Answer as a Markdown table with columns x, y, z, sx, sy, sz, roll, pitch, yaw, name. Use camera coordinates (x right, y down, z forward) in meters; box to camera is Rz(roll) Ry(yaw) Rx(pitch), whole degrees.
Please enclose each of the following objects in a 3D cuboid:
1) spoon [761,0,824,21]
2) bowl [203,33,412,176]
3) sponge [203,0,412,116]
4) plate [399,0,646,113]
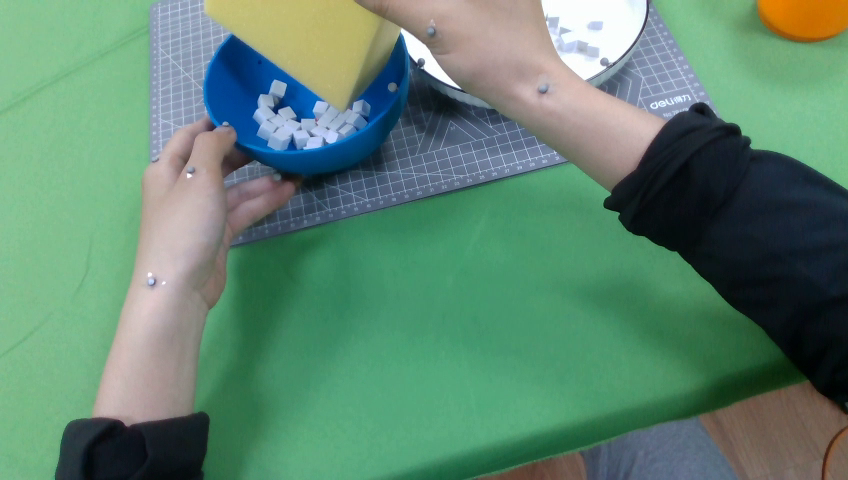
| x | y | z | sx | sy | sz | roll | pitch | yaw | name |
| --- | --- | --- | --- | --- | --- | --- | --- | --- | --- |
| 0.347 | -0.238 | 0.450 | 0.022 | 0.194 | 0.041 | 4 | 56 | -43 | spoon |
| -0.081 | -0.102 | 0.467 | 0.151 | 0.077 | 0.150 | -1 | 62 | 3 | bowl |
| -0.057 | -0.181 | 0.348 | 0.118 | 0.207 | 0.060 | 34 | 59 | -3 | sponge |
| 0.077 | -0.186 | 0.515 | 0.209 | 0.038 | 0.207 | -3 | 62 | 6 | plate |
